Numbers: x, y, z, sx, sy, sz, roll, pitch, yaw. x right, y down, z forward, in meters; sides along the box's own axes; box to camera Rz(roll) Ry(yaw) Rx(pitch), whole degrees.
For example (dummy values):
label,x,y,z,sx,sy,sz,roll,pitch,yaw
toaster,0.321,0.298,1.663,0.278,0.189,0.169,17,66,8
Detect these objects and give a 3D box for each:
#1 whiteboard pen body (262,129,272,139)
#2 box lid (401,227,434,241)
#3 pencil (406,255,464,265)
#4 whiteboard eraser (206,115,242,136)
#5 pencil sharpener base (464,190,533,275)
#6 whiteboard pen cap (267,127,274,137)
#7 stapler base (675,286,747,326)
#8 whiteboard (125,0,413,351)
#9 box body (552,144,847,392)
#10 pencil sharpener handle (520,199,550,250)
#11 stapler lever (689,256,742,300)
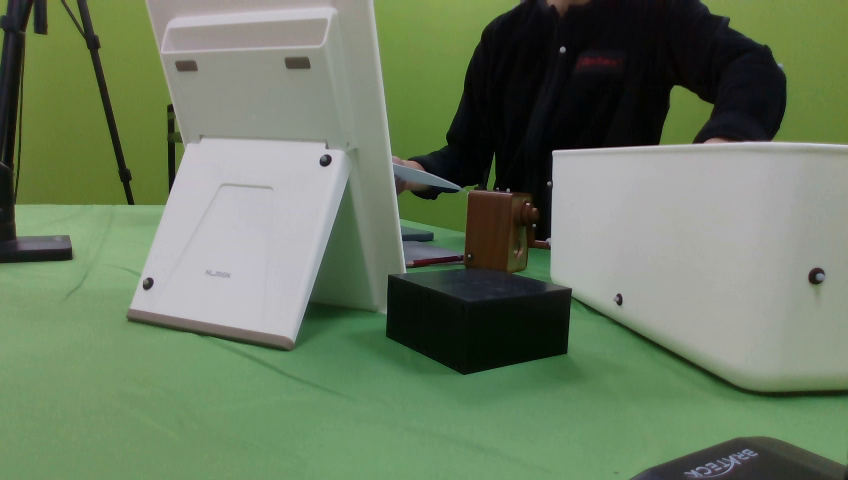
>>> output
label,x,y,z,sx,sy,sz,roll,pitch,yaw
whiteboard pen body,-0.361,-0.245,1.393,0.017,0.017,0.140,0,5,-20
box lid,-0.196,-0.015,1.105,0.373,0.015,0.262,-1,7,-32
pencil,0.041,0.026,0.849,0.012,0.012,0.195,10,9,44
whiteboard eraser,-0.438,-0.249,1.320,0.056,0.042,0.112,-3,9,-30
pencil sharpener base,0.103,-0.012,0.813,0.076,0.107,0.061,8,9,36
whiteboard pen cap,-0.340,-0.239,1.337,0.018,0.018,0.033,1,-1,-14
stapler base,0.281,0.060,0.586,0.041,0.024,0.131,12,9,37
whiteboard,-0.151,-0.050,0.471,0.216,0.305,0.144,6,27,24
box body,0.290,0.002,0.549,0.255,0.160,0.363,2,7,-10
pencil sharpener handle,0.147,-0.019,0.785,0.030,0.068,0.036,8,25,36
stapler lever,0.284,0.034,0.584,0.026,0.040,0.119,12,8,37
